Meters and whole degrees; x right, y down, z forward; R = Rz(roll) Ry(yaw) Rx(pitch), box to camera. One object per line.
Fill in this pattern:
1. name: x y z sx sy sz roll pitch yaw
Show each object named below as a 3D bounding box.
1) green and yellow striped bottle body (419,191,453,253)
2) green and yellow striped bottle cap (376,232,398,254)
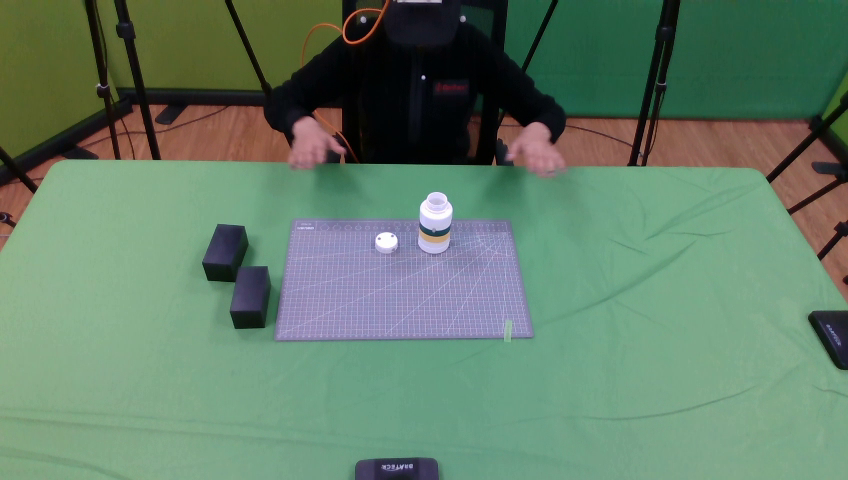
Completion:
1. green and yellow striped bottle body: 0.023 -0.036 1.160 0.063 0.120 0.063 2 46 -2
2. green and yellow striped bottle cap: -0.073 0.006 1.187 0.045 0.020 0.045 2 45 -2
